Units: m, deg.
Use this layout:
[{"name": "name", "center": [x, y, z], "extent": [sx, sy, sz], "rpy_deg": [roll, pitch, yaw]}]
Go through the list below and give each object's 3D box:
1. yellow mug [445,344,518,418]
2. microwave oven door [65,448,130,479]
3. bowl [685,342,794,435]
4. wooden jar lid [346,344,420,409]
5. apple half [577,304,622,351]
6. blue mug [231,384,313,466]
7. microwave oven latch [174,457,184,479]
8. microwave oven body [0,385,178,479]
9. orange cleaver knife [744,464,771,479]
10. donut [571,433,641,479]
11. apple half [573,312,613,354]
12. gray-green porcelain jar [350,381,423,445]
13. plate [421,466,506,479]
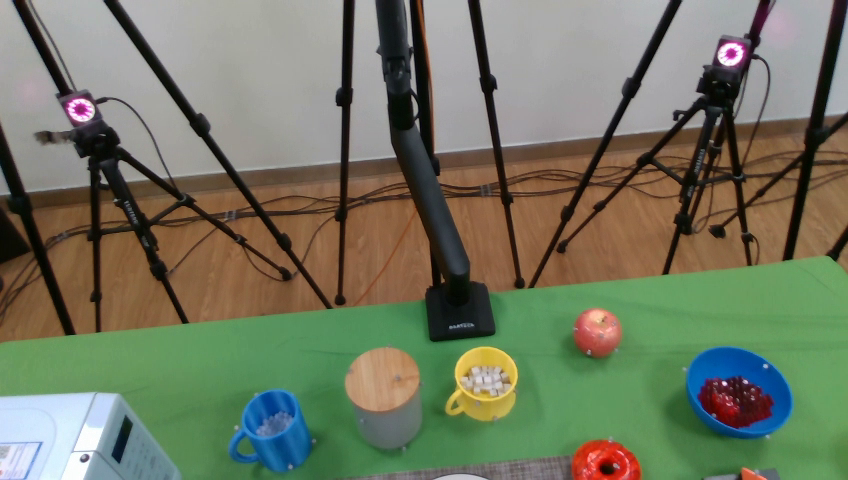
[{"name": "yellow mug", "center": [0.088, 0.234, 0.973], "extent": [0.131, 0.064, 0.099], "rpy_deg": [-30, 51, -22]}, {"name": "microwave oven door", "center": [-0.375, 0.444, 0.653], "extent": [0.039, 0.246, 0.352], "rpy_deg": [-3, 46, 2]}, {"name": "bowl", "center": [0.472, 0.240, 0.931], "extent": [0.151, 0.077, 0.150], "rpy_deg": [-2, 46, 2]}, {"name": "wooden jar lid", "center": [-0.059, 0.202, 0.885], "extent": [0.108, 0.021, 0.107], "rpy_deg": [-2, 44, 3]}, {"name": "apple half", "center": [0.306, 0.147, 1.036], "extent": [0.053, 0.075, 0.080], "rpy_deg": [-27, 46, -27]}, {"name": "blue mug", "center": [-0.232, 0.288, 0.914], "extent": [0.117, 0.107, 0.081], "rpy_deg": [-24, 49, -18]}, {"name": "microwave oven latch", "center": [-0.371, 0.357, 0.878], "extent": [0.030, 0.030, 0.078], "rpy_deg": [-2, 47, 2]}, {"name": "microwave oven body", "center": [-0.522, 0.424, 0.688], "extent": [0.326, 0.262, 0.437], "rpy_deg": [-3, 47, 1]}, {"name": "orange cleaver knife", "center": [0.447, 0.398, 0.776], "extent": [0.012, 0.077, 0.210], "rpy_deg": [-5, 70, 2]}, {"name": "donut", "center": [0.263, 0.328, 0.879], "extent": [0.099, 0.049, 0.098], "rpy_deg": [-1, 47, 2]}, {"name": "apple half", "center": [0.276, 0.165, 1.019], "extent": [0.033, 0.082, 0.080], "rpy_deg": [-28, 50, -27]}, {"name": "gray-green porcelain jar", "center": [-0.055, 0.245, 0.930], "extent": [0.106, 0.128, 0.105], "rpy_deg": [-2, 46, 2]}, {"name": "plate", "center": [0.054, 0.413, 0.816], "extent": [0.207, 0.039, 0.205], "rpy_deg": [-2, 46, 2]}]
